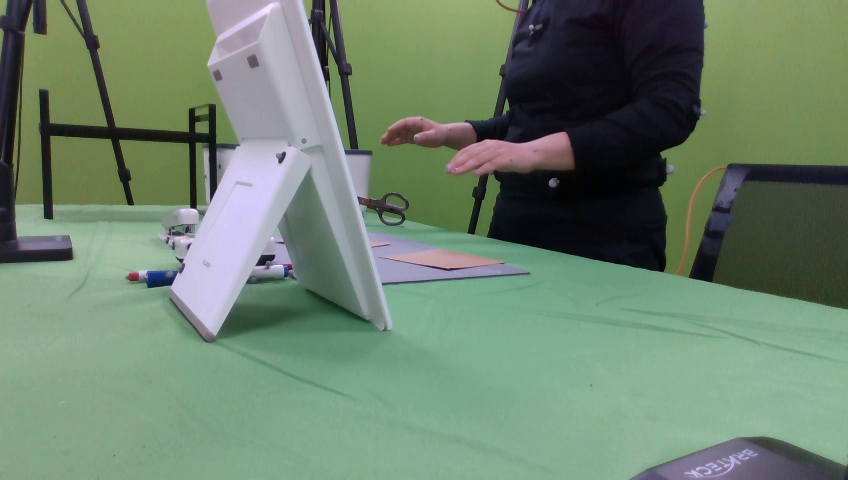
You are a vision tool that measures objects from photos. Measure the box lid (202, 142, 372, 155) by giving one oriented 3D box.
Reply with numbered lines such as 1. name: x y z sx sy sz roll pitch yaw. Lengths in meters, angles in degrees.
1. box lid: -0.344 -0.225 1.509 0.373 0.015 0.262 -2 8 -31

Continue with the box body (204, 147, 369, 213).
1. box body: -0.347 -0.152 1.519 0.366 0.160 0.253 -2 9 -31

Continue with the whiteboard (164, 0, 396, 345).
1. whiteboard: -0.172 -0.053 0.511 0.144 0.305 0.216 -23 19 -26

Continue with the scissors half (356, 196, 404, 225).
1. scissors half: -0.127 -0.072 1.321 0.175 0.040 0.013 22 5 -5

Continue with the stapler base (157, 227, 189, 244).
1. stapler base: -0.376 -0.007 0.935 0.041 0.024 0.130 0 5 -38

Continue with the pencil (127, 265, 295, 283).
1. pencil: -0.231 0.037 0.690 0.195 0.012 0.012 -2 9 -34

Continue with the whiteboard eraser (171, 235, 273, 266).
1. whiteboard eraser: -0.248 0.014 0.747 0.113 0.042 0.055 -1 10 -32

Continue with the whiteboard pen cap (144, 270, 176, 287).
1. whiteboard pen cap: -0.271 0.039 0.627 0.033 0.018 0.018 -3 10 -32

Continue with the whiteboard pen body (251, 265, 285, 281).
1. whiteboard pen body: -0.220 0.039 0.656 0.141 0.017 0.017 -2 9 -31

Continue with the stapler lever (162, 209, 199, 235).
1. stapler lever: -0.376 -0.031 0.933 0.027 0.040 0.117 0 7 -38

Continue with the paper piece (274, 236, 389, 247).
1. paper piece: -0.151 0.003 0.978 0.135 0.008 0.139 13 10 35

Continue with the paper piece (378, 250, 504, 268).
1. paper piece: 0.025 0.027 0.865 0.134 0.004 0.136 9 9 43

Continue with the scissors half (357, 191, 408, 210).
1. scissors half: -0.123 -0.092 1.318 0.175 0.040 0.013 5 12 -3
